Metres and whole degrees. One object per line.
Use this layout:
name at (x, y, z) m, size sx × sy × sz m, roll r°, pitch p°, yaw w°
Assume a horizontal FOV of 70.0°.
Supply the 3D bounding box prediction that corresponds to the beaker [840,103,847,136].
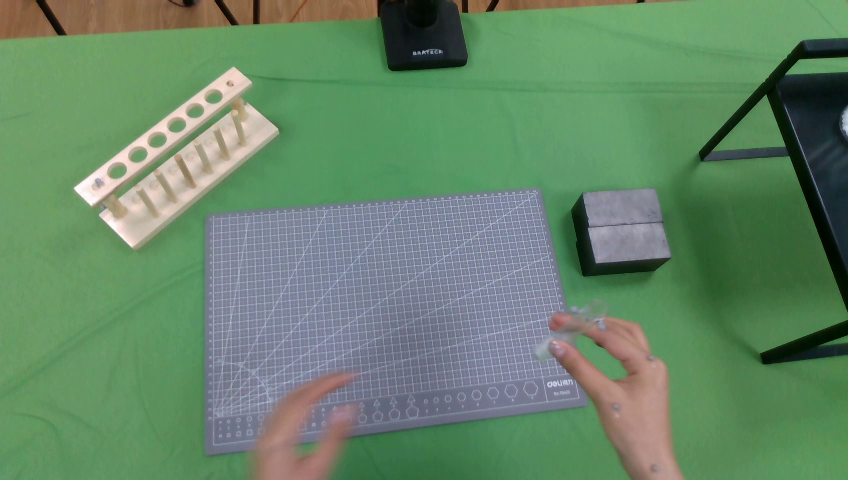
beaker at (0.516, -0.149, 0.659) m, size 0.084 × 0.101 × 0.073 m, roll -9°, pitch 69°, yaw -8°

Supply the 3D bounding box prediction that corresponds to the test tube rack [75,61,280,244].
test tube rack at (-0.301, -0.112, 0.767) m, size 0.066 × 0.085 × 0.242 m, roll 41°, pitch 71°, yaw 11°

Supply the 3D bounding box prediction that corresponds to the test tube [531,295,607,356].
test tube at (0.118, 0.076, 0.511) m, size 0.017 × 0.151 × 0.017 m, roll 3°, pitch 67°, yaw -7°
